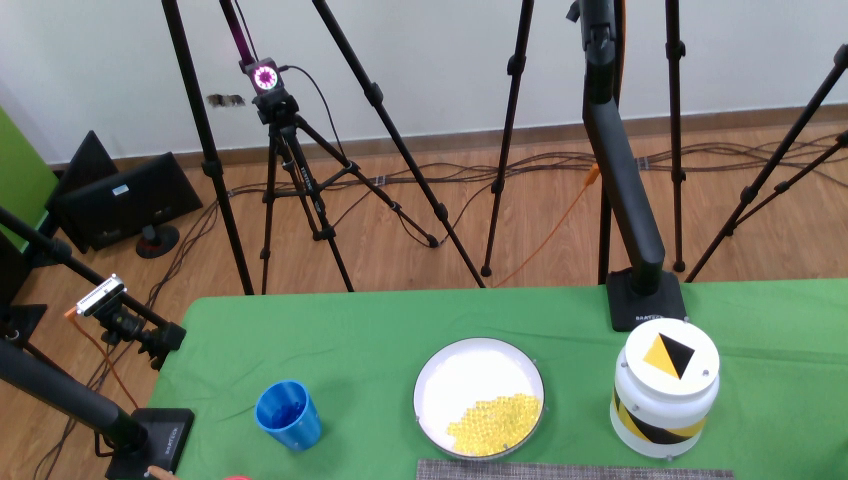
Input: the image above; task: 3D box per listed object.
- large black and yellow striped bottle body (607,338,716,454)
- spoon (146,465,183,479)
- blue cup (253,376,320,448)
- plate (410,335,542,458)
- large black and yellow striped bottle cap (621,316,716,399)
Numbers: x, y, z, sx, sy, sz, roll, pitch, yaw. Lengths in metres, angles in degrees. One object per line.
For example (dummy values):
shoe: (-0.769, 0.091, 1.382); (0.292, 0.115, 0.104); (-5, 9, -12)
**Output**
large black and yellow striped bottle body: (0.330, 0.205, 0.851); (0.130, 0.186, 0.129); (-6, 48, 7)
spoon: (-0.307, 0.370, 0.862); (0.195, 0.021, 0.041); (39, 53, -14)
blue cup: (-0.208, 0.279, 0.951); (0.092, 0.101, 0.091); (-7, 48, 8)
plate: (0.082, 0.248, 0.963); (0.209, 0.038, 0.207); (-6, 48, 7)
large black and yellow striped bottle cap: (0.317, 0.150, 0.787); (0.115, 0.019, 0.114); (-7, 47, 8)
